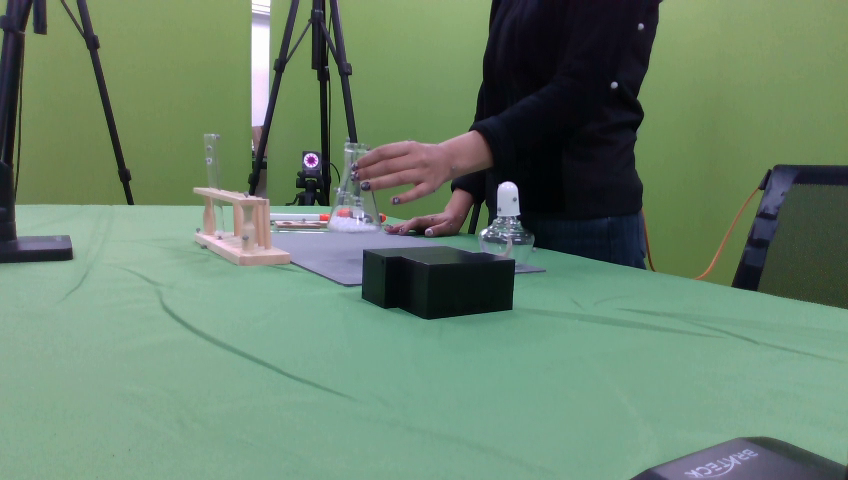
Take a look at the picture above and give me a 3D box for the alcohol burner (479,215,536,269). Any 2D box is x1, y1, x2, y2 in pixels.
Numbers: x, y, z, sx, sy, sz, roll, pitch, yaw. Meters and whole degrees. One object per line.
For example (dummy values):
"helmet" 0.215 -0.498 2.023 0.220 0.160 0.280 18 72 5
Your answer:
"alcohol burner" 0.114 -0.021 0.816 0.078 0.119 0.078 2 9 0

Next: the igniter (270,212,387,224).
"igniter" -0.213 -0.048 1.278 0.278 0.025 0.057 -1 -2 -25

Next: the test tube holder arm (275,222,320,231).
"test tube holder arm" -0.238 -0.026 1.145 0.088 0.015 0.010 -3 45 -38

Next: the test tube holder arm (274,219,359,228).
"test tube holder arm" -0.206 -0.032 1.176 0.179 0.015 0.013 -4 46 -39

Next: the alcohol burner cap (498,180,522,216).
"alcohol burner cap" 0.114 -0.056 0.809 0.034 0.048 0.034 -5 12 1

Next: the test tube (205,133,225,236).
"test tube" -0.305 -0.079 0.883 0.017 0.150 0.017 -2 10 1

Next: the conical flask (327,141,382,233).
"conical flask" -0.092 -0.071 0.818 0.075 0.122 0.075 2 4 0

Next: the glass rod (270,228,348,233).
"glass rod" -0.235 -0.017 1.105 0.201 0.008 0.008 1 7 -26

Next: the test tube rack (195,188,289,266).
"test tube rack" -0.266 -0.025 0.864 0.067 0.085 0.241 -2 9 -33
